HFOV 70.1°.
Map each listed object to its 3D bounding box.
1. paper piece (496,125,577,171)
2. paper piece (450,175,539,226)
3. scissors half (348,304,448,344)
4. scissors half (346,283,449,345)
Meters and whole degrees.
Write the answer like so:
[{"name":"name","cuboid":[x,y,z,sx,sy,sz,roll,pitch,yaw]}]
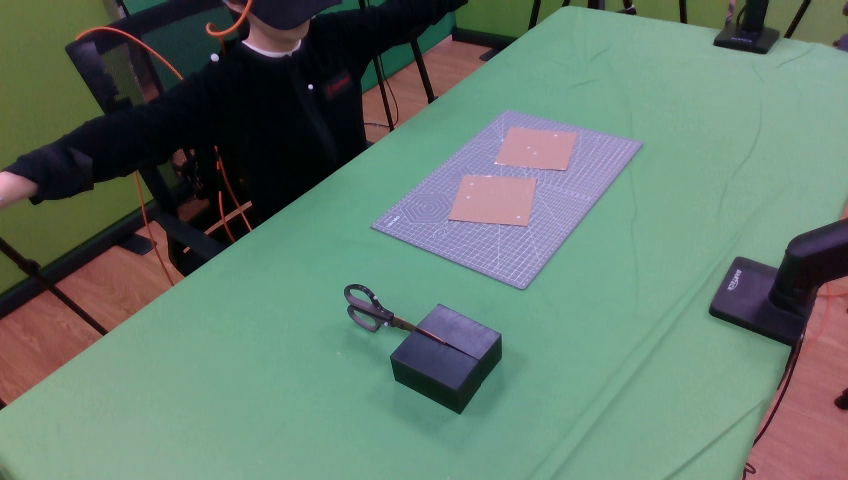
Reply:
[{"name":"paper piece","cuboid":[0.218,-0.178,1.159,0.135,0.004,0.135,9,44,18]},{"name":"paper piece","cuboid":[0.125,-0.073,1.051,0.135,0.009,0.138,3,42,18]},{"name":"scissors half","cuboid":[-0.037,0.117,0.813,0.174,0.040,0.013,9,33,39]},{"name":"scissors half","cuboid":[-0.038,0.099,0.803,0.174,0.040,0.013,26,38,28]}]
